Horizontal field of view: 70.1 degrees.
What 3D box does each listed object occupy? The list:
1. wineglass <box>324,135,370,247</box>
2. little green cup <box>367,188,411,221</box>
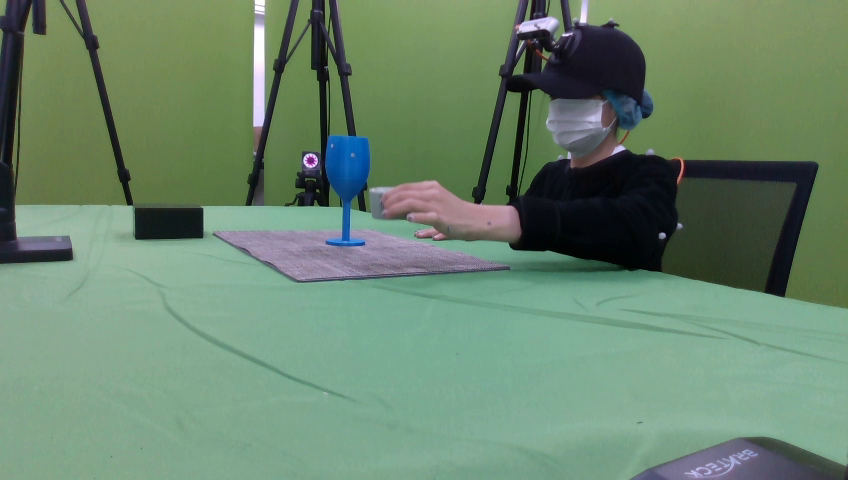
[{"bbox_3d":[-0.124,-0.079,0.965,0.074,0.172,0.073,3,7,0],"label":"wineglass"},{"bbox_3d":[-0.046,-0.049,0.819,0.061,0.038,0.061,-1,12,1],"label":"little green cup"}]
